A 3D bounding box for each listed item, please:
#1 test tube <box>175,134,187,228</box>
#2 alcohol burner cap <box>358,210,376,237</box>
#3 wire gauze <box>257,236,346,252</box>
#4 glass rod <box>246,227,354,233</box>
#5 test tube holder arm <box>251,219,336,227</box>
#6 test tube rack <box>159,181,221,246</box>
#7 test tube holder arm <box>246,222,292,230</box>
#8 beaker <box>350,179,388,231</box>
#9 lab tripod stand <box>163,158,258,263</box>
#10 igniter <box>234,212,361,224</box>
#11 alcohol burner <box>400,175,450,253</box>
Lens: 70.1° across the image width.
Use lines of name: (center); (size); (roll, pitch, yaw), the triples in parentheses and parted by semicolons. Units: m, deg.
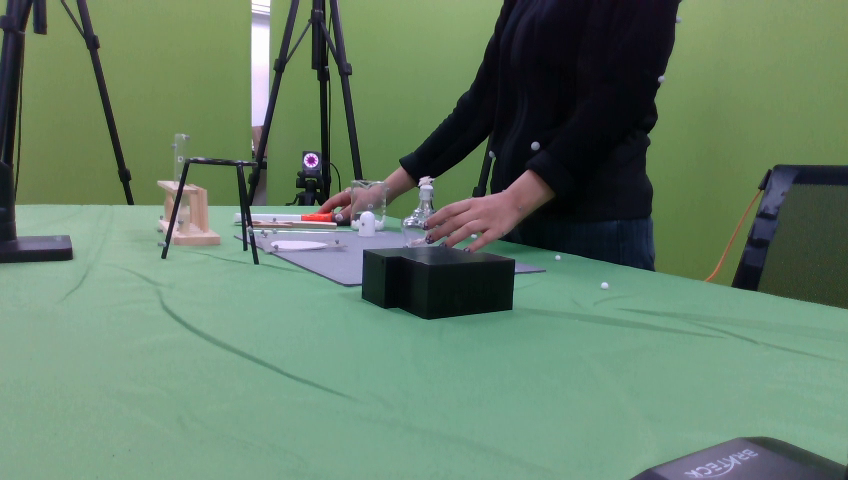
test tube: (-0.388, -0.094, 0.964); (0.017, 0.150, 0.017); (1, 2, 0)
alcohol burner cap: (-0.104, -0.030, 1.098); (0.034, 0.048, 0.034); (2, 8, 0)
wire gauze: (-0.189, 0.005, 0.931); (0.122, 0.011, 0.124); (1, 7, -21)
glass rod: (-0.224, -0.018, 1.109); (0.201, 0.008, 0.008); (1, 7, -27)
test tube holder arm: (-0.254, -0.031, 1.157); (0.179, 0.015, 0.013); (-3, 46, -31)
test tube rack: (-0.395, -0.050, 1.010); (0.067, 0.085, 0.241); (-2, 8, -28)
test tube holder arm: (-0.291, -0.026, 1.130); (0.088, 0.015, 0.010); (-1, 45, -30)
beaker: (-0.111, -0.070, 1.204); (0.074, 0.100, 0.084); (2, 8, 0)
lab tripod stand: (-0.265, -0.041, 0.802); (0.148, 0.131, 0.148); (4, 7, 0)
igniter: (-0.246, -0.045, 1.248); (0.278, 0.025, 0.057); (-1, -3, -25)
alcohol burner: (0.003, -0.040, 0.933); (0.078, 0.119, 0.078); (3, 9, 0)
